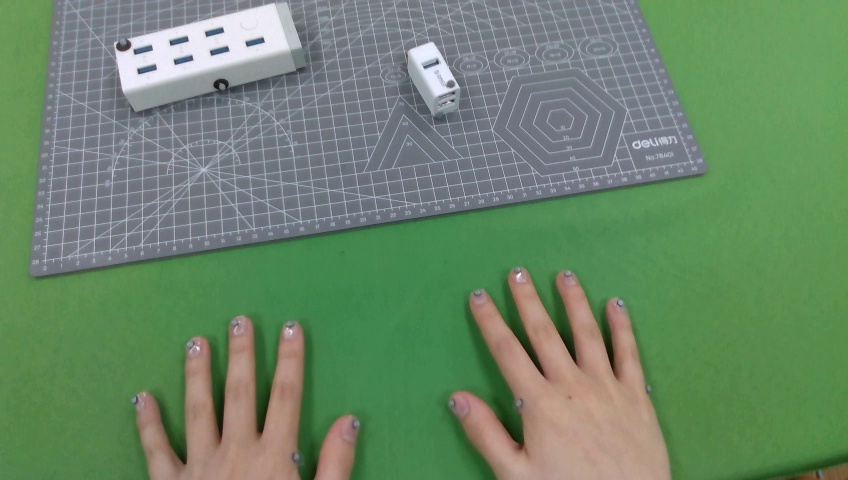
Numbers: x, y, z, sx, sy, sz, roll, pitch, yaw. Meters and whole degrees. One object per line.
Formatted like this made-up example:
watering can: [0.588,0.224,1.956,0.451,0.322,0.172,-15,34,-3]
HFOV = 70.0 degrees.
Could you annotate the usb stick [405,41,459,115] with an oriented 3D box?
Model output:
usb stick: [0.003,-0.121,0.432,0.021,0.027,0.058,-24,66,-10]

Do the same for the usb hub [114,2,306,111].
usb hub: [-0.153,-0.134,0.435,0.125,0.025,0.049,-17,67,-9]
